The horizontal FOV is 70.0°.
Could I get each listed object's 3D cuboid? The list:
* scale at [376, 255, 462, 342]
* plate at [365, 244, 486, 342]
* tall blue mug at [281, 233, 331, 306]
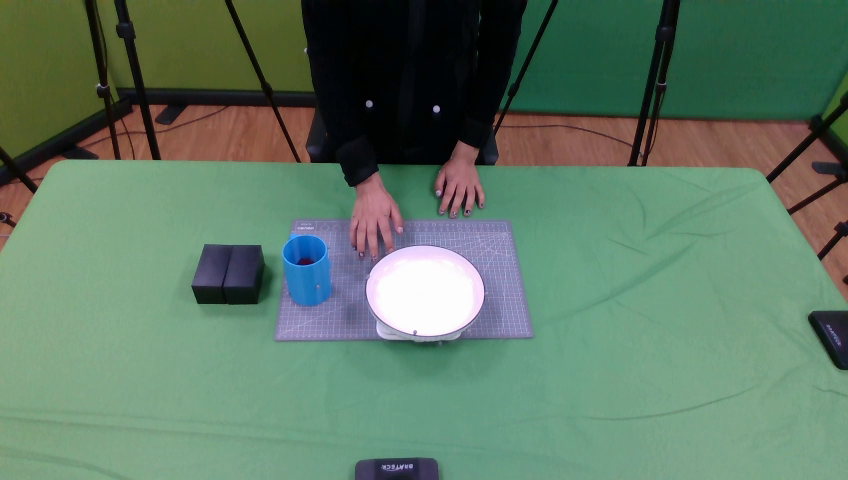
[{"bbox_3d":[-0.010,0.096,1.094,0.149,0.032,0.199,2,46,-3],"label":"scale"},{"bbox_3d":[0.001,0.093,1.051,0.209,0.038,0.208,1,46,-1],"label":"plate"},{"bbox_3d":[-0.219,0.046,1.073,0.107,0.108,0.077,28,51,21],"label":"tall blue mug"}]
